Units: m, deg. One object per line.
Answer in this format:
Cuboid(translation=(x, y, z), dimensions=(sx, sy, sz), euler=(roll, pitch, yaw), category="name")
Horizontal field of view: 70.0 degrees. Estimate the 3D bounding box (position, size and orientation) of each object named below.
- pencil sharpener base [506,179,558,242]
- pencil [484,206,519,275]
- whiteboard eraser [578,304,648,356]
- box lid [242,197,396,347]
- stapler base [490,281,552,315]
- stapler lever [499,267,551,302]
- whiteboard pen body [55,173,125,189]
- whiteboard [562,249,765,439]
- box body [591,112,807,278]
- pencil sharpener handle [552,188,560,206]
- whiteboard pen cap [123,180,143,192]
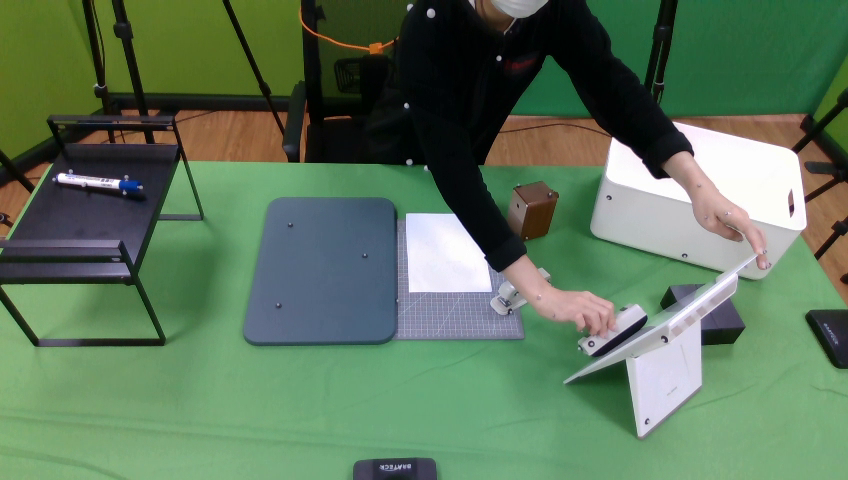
Cuboid(translation=(0.216, -0.059, 1.211), dimensions=(0.077, 0.107, 0.061), euler=(-16, 49, -18), category="pencil sharpener base")
Cuboid(translation=(0.155, -0.002, 1.218), dimensions=(0.012, 0.012, 0.192), euler=(-9, 48, -13), category="pencil")
Cuboid(translation=(0.305, 0.148, 0.977), dimensions=(0.112, 0.055, 0.042), euler=(-36, 84, 1), category="whiteboard eraser")
Cuboid(translation=(-0.186, 0.046, 1.147), dimensions=(0.263, 0.015, 0.369), euler=(0, 46, -3), category="box lid")
Cuboid(translation=(0.181, 0.094, 1.118), dimensions=(0.130, 0.024, 0.041), euler=(-24, 57, -29), category="stapler base")
Cuboid(translation=(0.185, 0.076, 1.101), dimensions=(0.118, 0.040, 0.026), euler=(-25, 57, -29), category="stapler lever")
Cuboid(translation=(-0.539, -0.095, 0.997), dimensions=(0.141, 0.017, 0.017), euler=(6, 46, 6), category="whiteboard pen body")
Cuboid(translation=(0.387, 0.176, 0.905), dimensions=(0.217, 0.306, 0.143), euler=(-26, 72, -26), category="whiteboard")
Cuboid(translation=(0.540, -0.092, 1.229), dimensions=(0.363, 0.161, 0.253), euler=(16, 47, 11), category="box body")
Cuboid(translation=(0.261, -0.084, 1.221), dimensions=(0.031, 0.068, 0.036), euler=(-16, 66, -18), category="pencil sharpener handle")
Cuboid(translation=(-0.479, -0.088, 0.993), dimensions=(0.033, 0.018, 0.018), euler=(7, 46, 14), category="whiteboard pen cap")
